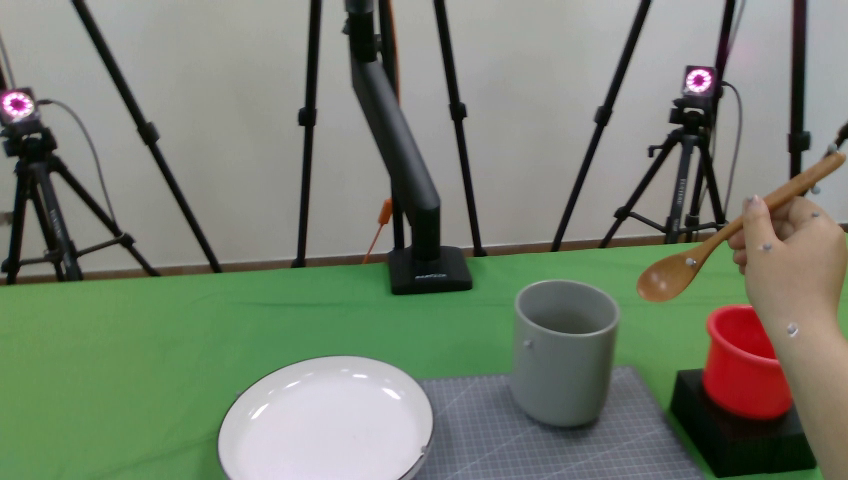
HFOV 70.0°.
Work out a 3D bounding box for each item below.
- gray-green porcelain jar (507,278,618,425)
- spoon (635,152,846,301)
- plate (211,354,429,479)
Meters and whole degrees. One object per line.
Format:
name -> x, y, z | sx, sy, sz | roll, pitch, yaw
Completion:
gray-green porcelain jar -> 0.142, 0.120, 0.639 | 0.106, 0.127, 0.105 | 0, 28, 1
spoon -> 0.251, -0.007, 0.498 | 0.022, 0.194, 0.041 | 18, 46, -24
plate -> -0.099, 0.191, 0.599 | 0.208, 0.039, 0.206 | 0, 27, 0
